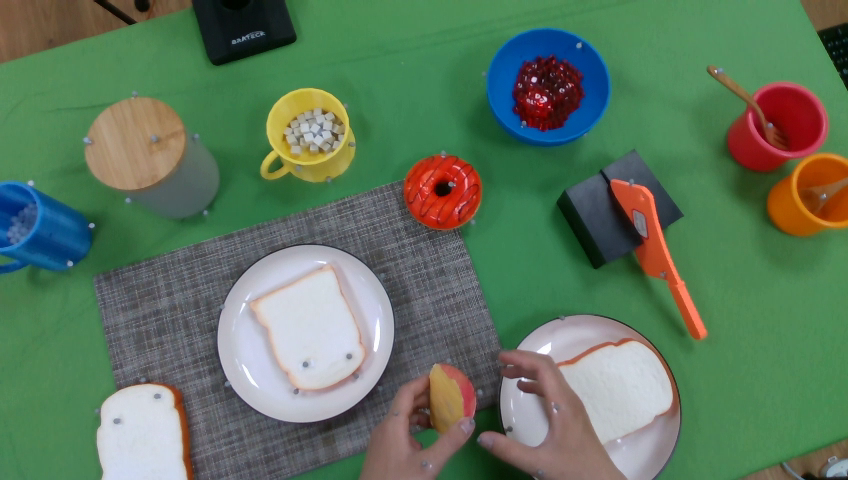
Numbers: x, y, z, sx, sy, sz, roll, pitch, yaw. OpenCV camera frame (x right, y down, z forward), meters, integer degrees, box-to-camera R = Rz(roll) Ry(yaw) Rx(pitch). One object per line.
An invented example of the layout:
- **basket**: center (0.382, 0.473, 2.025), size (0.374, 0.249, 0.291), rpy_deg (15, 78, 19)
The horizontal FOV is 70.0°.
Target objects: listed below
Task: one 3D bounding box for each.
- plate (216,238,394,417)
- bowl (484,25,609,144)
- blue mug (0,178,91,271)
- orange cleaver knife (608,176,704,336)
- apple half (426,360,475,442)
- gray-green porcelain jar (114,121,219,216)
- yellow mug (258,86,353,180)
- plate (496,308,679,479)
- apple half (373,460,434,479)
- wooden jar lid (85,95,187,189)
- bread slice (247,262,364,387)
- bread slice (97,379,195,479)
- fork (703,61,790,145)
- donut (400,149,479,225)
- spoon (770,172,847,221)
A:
- **plate**: center (-0.138, 0.102, 0.717), size (0.208, 0.039, 0.206), rpy_deg (0, 77, 0)
- **bowl**: center (0.147, -0.182, 0.765), size (0.151, 0.077, 0.150), rpy_deg (0, 78, 0)
- **blue mug**: center (-0.472, -0.006, 0.709), size (0.116, 0.106, 0.082), rpy_deg (-44, 80, -9)
- **orange cleaver knife**: center (0.273, 0.018, 0.718), size (0.012, 0.077, 0.212), rpy_deg (-29, 100, -13)
- **apple half**: center (0.031, 0.158, 0.603), size (0.033, 0.081, 0.081), rpy_deg (-4, 75, -26)
- **gray-green porcelain jar**: center (-0.310, -0.090, 0.719), size (0.106, 0.127, 0.105), rpy_deg (0, 77, 0)
- **yellow mug**: center (-0.154, -0.123, 0.757), size (0.131, 0.064, 0.099), rpy_deg (-42, 80, -8)
- **plate**: center (0.185, 0.185, 0.703), size (0.209, 0.038, 0.208), rpy_deg (0, 77, 0)
- **apple half**: center (-0.028, 0.287, 0.672), size (0.074, 0.053, 0.080), rpy_deg (35, 80, 9)
- **wooden jar lid**: center (-0.310, -0.105, 0.658), size (0.108, 0.021, 0.108), rpy_deg (0, 76, 1)
- **bread slice**: center (-0.131, 0.105, 0.718), size (0.107, 0.018, 0.133), rpy_deg (-29, 78, -6)
- **bread slice**: center (-0.326, 0.228, 0.699), size (0.105, 0.019, 0.131), rpy_deg (-11, 79, -3)
- **fork**: center (0.390, -0.162, 0.724), size (0.209, 0.018, 0.028), rpy_deg (23, 73, -37)
- **donut**: center (0.020, -0.065, 0.752), size (0.099, 0.048, 0.098), rpy_deg (0, 78, 0)
- **spoon**: center (0.503, -0.079, 0.706), size (0.022, 0.194, 0.041), rpy_deg (-10, 70, -49)
